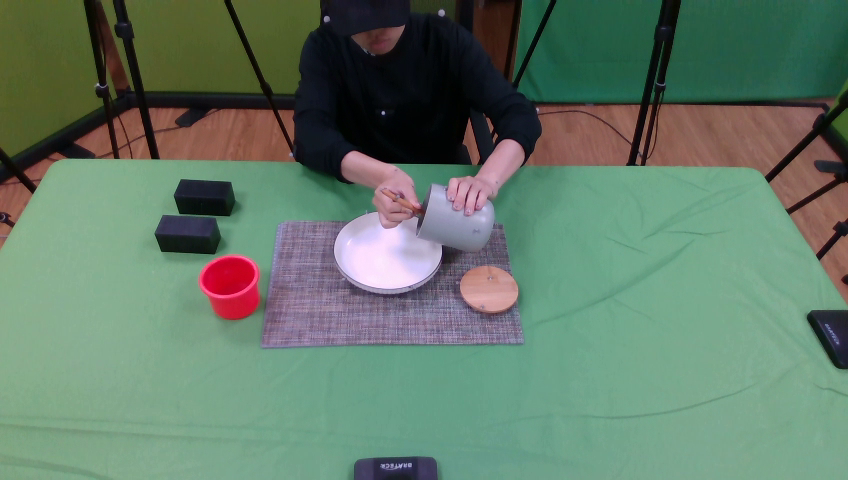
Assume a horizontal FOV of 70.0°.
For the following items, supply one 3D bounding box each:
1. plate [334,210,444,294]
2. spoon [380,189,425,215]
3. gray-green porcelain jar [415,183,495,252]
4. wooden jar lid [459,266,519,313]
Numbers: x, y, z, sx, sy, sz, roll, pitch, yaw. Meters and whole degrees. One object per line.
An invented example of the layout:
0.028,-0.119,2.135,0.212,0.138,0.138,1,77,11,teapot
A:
-0.066,0.026,1.150,0.208,0.039,0.206,2,46,-2,plate
0.001,-0.053,1.096,0.195,0.021,0.041,19,25,-31,spoon
0.058,-0.038,1.107,0.127,0.106,0.105,15,46,-6,gray-green porcelain jar
0.118,0.093,1.111,0.108,0.021,0.107,1,47,-1,wooden jar lid
